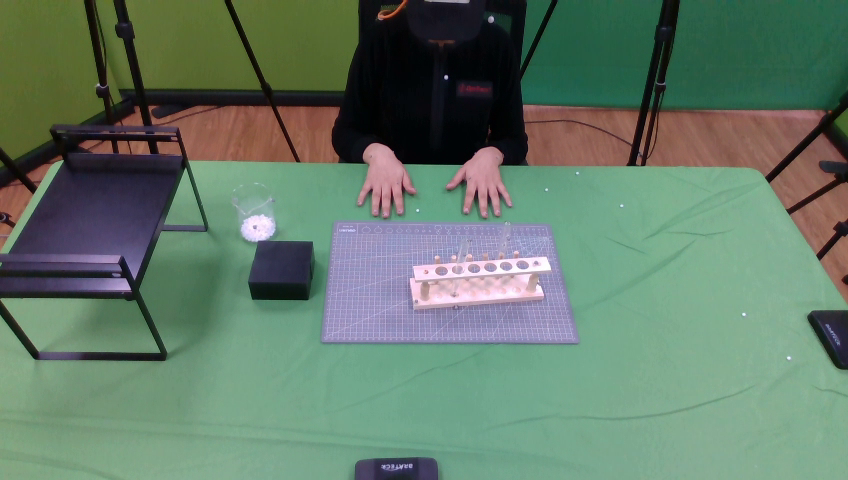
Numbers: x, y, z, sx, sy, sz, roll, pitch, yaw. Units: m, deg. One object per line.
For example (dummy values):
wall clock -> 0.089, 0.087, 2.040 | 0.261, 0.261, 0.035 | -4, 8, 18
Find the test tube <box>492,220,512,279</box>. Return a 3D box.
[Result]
test tube -> 0.138, 0.018, 1.082 | 0.017, 0.151, 0.017 | 2, 47, -2

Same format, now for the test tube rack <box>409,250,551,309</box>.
test tube rack -> 0.098, 0.065, 1.096 | 0.243, 0.085, 0.066 | -4, 47, -8

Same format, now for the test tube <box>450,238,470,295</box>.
test tube -> 0.060, 0.048, 1.040 | 0.017, 0.151, 0.017 | 3, 51, -4

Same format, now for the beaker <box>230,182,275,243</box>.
beaker -> -0.328, -0.049, 1.166 | 0.074, 0.101, 0.083 | 2, 47, -2
